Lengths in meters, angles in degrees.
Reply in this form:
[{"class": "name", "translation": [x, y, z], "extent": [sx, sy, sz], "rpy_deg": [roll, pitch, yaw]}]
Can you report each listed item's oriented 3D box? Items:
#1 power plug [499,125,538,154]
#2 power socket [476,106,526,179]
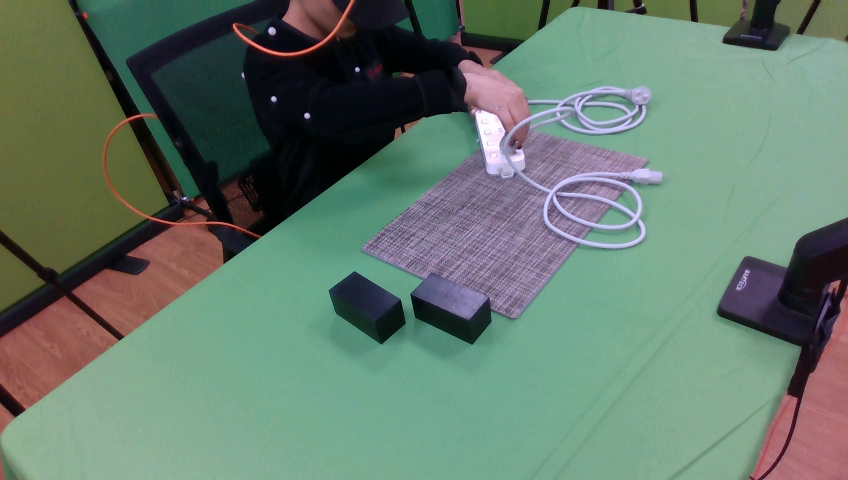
[{"class": "power plug", "translation": [0.173, -0.175, 1.094], "extent": [0.072, 0.053, 0.035], "rpy_deg": [-5, 43, 14]}, {"class": "power socket", "translation": [0.146, -0.196, 1.173], "extent": [0.072, 0.033, 0.225], "rpy_deg": [-7, 40, 2]}]
